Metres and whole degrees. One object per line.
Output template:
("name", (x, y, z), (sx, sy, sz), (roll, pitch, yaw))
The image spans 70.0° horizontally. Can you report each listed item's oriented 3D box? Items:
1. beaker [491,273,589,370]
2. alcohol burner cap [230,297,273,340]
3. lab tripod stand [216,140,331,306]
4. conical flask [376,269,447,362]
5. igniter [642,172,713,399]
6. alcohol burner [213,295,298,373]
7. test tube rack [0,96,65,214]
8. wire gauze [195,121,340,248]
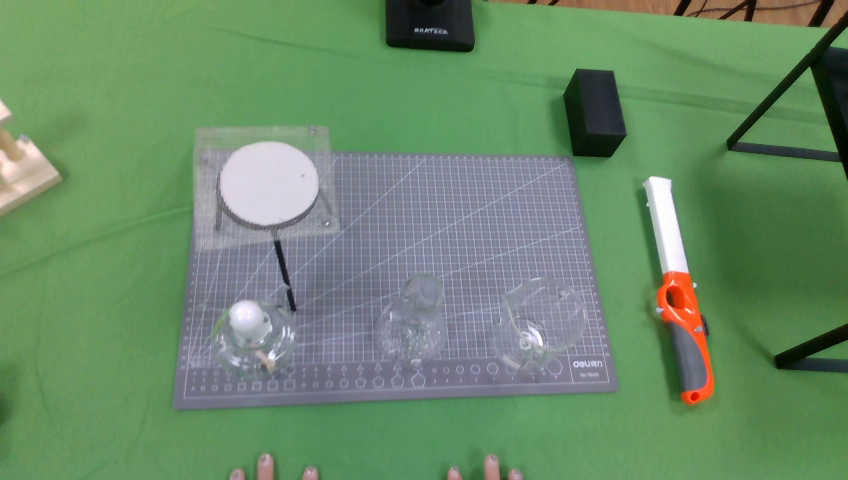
("beaker", (0.108, 0.085, 0.609), (0.084, 0.101, 0.073), (22, 63, 4))
("alcohol burner cap", (-0.153, 0.067, 0.530), (0.034, 0.048, 0.033), (1, 69, -3))
("lab tripod stand", (-0.146, -0.022, 0.603), (0.149, 0.132, 0.147), (4, 65, -8))
("conical flask", (-0.007, 0.068, 0.587), (0.075, 0.122, 0.074), (3, 64, -6))
("igniter", (0.289, 0.044, 0.698), (0.057, 0.025, 0.274), (7, 64, -17))
("alcohol burner", (-0.158, 0.082, 0.563), (0.078, 0.120, 0.077), (4, 63, -8))
("test tube rack", (-0.497, -0.039, 0.589), (0.242, 0.085, 0.066), (-40, 76, -23))
("wire gauze", (-0.141, -0.055, 0.544), (0.122, 0.011, 0.124), (-5, 67, -11))
